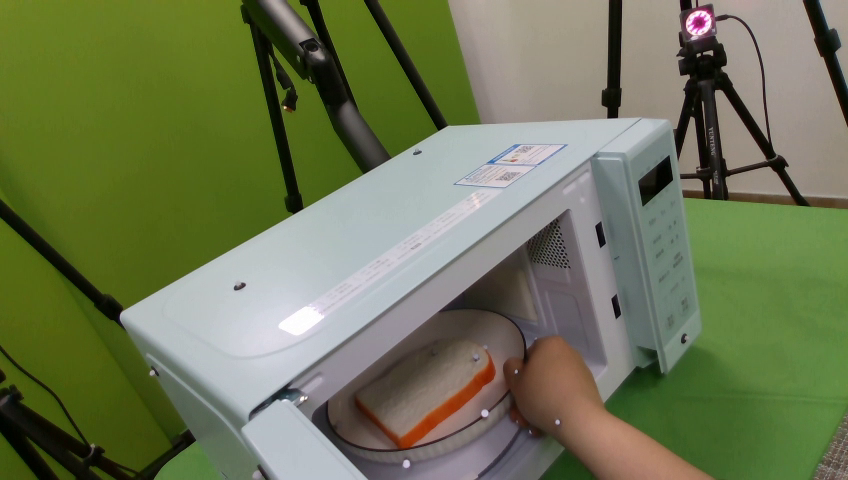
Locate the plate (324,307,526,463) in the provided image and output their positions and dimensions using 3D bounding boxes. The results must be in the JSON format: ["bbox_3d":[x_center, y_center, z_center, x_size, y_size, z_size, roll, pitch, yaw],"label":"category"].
[{"bbox_3d":[0.004,0.142,0.601,0.209,0.038,0.207,-18,23,9],"label":"plate"}]

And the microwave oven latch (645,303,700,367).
[{"bbox_3d":[0.255,0.094,0.624,0.079,0.030,0.030,-35,29,-30],"label":"microwave oven latch"}]

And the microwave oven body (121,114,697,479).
[{"bbox_3d":[0.006,0.082,0.604,0.441,0.262,0.323,-36,29,-31],"label":"microwave oven body"}]

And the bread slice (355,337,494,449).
[{"bbox_3d":[0.003,0.144,0.605,0.131,0.019,0.104,-33,27,-22],"label":"bread slice"}]

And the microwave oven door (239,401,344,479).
[{"bbox_3d":[0.042,0.225,0.247,0.039,0.246,0.353,-32,26,-26],"label":"microwave oven door"}]
